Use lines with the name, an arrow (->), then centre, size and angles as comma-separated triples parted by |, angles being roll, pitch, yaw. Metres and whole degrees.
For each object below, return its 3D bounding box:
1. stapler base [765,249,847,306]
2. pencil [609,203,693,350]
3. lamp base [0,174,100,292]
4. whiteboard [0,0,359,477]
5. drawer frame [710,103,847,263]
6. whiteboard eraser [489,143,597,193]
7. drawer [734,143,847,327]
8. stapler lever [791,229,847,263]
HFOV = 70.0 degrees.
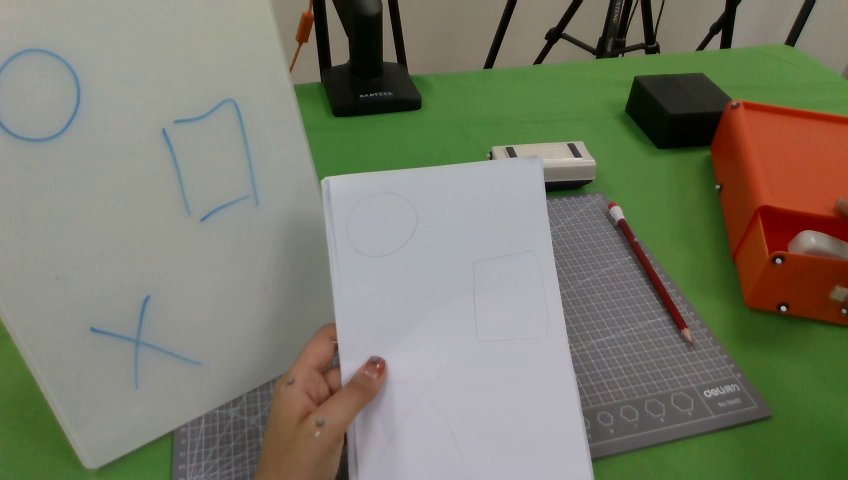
stapler base -> 0.396, 0.037, 0.571 | 0.130, 0.024, 0.041 | 19, 62, 13
pencil -> 0.219, 0.029, 0.591 | 0.012, 0.012, 0.192 | -4, 44, -8
lamp base -> -0.404, -0.068, 0.529 | 0.178, 0.182, 0.160 | 19, 44, 20
whiteboard -> -0.203, -0.031, 0.451 | 0.217, 0.308, 0.142 | -24, 29, -27
drawer frame -> 0.426, -0.050, 0.644 | 0.201, 0.083, 0.212 | 10, 41, 8
whiteboard eraser -> 0.135, -0.082, 0.690 | 0.113, 0.042, 0.055 | -4, 42, -8
drawer -> 0.412, -0.008, 0.598 | 0.194, 0.074, 0.210 | 10, 41, 9
stapler lever -> 0.397, 0.023, 0.550 | 0.117, 0.040, 0.026 | 19, 62, 13
